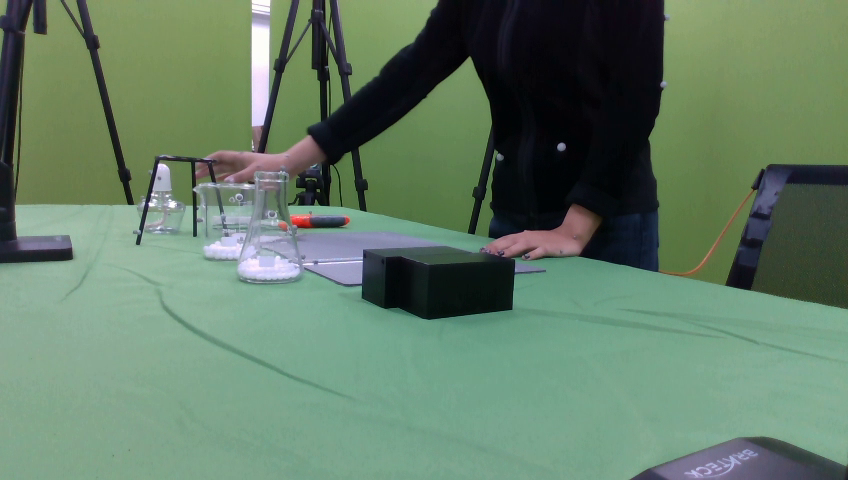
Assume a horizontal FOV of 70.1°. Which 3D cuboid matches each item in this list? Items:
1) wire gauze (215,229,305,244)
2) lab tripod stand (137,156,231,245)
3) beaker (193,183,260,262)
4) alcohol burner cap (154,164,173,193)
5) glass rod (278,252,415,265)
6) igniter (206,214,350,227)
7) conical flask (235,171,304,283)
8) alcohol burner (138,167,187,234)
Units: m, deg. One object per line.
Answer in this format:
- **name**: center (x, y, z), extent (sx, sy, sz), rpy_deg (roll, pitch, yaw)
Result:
- **wire gauze**: center (-0.273, -0.009, 1.012), extent (0.122, 0.011, 0.124), rpy_deg (-2, 9, -33)
- **lab tripod stand**: center (-0.358, -0.062, 0.927), extent (0.148, 0.131, 0.148), rpy_deg (4, 6, 0)
- **beaker**: center (-0.262, -0.024, 0.806), extent (0.084, 0.100, 0.073), rpy_deg (-3, 9, -30)
- **alcohol burner cap**: center (-0.450, -0.106, 1.038), extent (0.034, 0.048, 0.034), rpy_deg (3, 13, 0)
- **glass rod**: center (-0.097, 0.024, 0.805), extent (0.201, 0.008, 0.008), rpy_deg (-3, 8, -32)
- **igniter**: center (-0.279, -0.038, 1.186), extent (0.278, 0.025, 0.057), rpy_deg (-2, -1, -30)
- **conical flask**: center (-0.172, -0.016, 0.677), extent (0.075, 0.122, 0.075), rpy_deg (2, 7, 0)
- **alcohol burner**: center (-0.450, -0.070, 1.044), extent (0.078, 0.119, 0.078), rpy_deg (5, 7, 0)
